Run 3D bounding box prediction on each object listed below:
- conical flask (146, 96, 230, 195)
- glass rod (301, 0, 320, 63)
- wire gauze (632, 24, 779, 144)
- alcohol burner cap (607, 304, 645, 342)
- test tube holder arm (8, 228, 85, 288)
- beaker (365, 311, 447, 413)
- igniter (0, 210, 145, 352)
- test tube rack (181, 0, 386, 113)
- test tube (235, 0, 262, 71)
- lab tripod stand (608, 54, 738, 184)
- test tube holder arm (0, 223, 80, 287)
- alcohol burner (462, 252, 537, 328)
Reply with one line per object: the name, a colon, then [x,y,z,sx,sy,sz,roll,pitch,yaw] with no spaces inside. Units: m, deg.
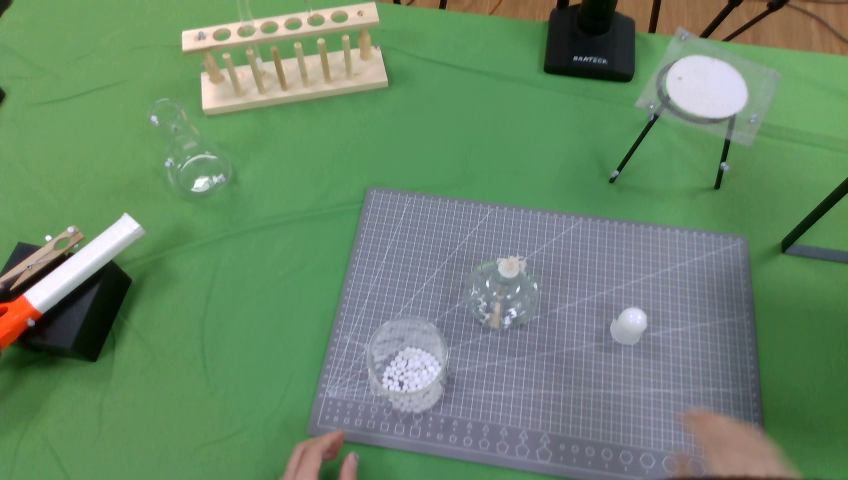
conical flask: [-0.278,-0.113,0.700,0.075,0.123,0.074,0,62,1]
glass rod: [-0.148,-0.295,0.739,0.008,0.201,0.008,-3,55,5]
wire gauze: [0.301,-0.166,0.641,0.121,0.011,0.124,28,67,12]
alcohol burner cap: [0.214,0.084,0.637,0.034,0.048,0.033,0,62,0]
test tube holder arm: [-0.397,0.019,0.636,0.088,0.015,0.010,-41,99,-18]
beaker: [-0.017,0.125,0.585,0.073,0.101,0.084,36,69,18]
igniter: [-0.404,0.069,0.608,0.057,0.025,0.276,34,67,27]
test tube rack: [-0.177,-0.236,0.784,0.242,0.086,0.066,-11,63,-5]
test tube: [-0.218,-0.267,0.744,0.017,0.151,0.017,2,60,-3]
lab tripod stand: [0.294,-0.134,0.701,0.148,0.132,0.147,1,62,-1]
test tube holder arm: [-0.433,0.043,0.620,0.178,0.015,0.013,-42,100,-18]
alcohol burner: [0.079,0.045,0.618,0.078,0.120,0.077,1,62,-1]
